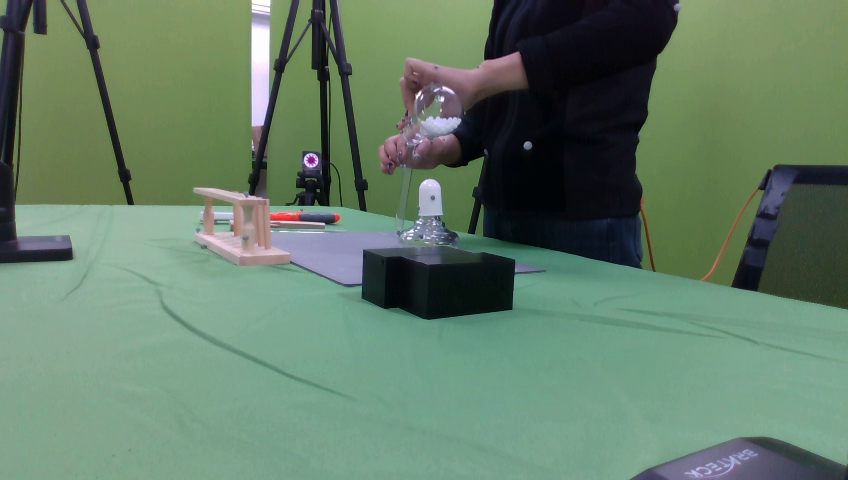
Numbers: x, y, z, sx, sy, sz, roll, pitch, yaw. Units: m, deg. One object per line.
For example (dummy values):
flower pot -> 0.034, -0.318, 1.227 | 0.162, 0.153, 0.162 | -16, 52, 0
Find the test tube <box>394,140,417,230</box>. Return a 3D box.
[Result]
test tube -> -0.030, -0.086, 0.966 | 0.017, 0.150, 0.017 | 9, 22, -3

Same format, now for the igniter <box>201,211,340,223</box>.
igniter -> -0.311, -0.048, 1.243 | 0.278, 0.025, 0.057 | -1, -2, -24

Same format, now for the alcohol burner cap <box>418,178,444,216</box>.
alcohol burner cap -> 0.007, -0.053, 0.745 | 0.034, 0.048, 0.034 | -3, 6, 1

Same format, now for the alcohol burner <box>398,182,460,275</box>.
alcohol burner -> 0.007, -0.017, 0.751 | 0.078, 0.119, 0.078 | 3, 10, 0

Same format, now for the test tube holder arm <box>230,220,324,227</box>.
test tube holder arm -> -0.275, -0.031, 1.145 | 0.179, 0.015, 0.013 | -3, 46, -31

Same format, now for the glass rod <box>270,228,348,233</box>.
glass rod -> -0.234, -0.018, 1.105 | 0.201, 0.008, 0.008 | 1, 7, -26

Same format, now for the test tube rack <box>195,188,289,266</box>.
test tube rack -> -0.266, -0.025, 0.864 | 0.067, 0.085, 0.241 | -2, 8, -33

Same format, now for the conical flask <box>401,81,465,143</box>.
conical flask -> 0.003, -0.176, 0.882 | 0.075, 0.075, 0.121 | -1, -7, -21

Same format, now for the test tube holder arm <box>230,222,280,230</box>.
test tube holder arm -> -0.312, -0.025, 1.118 | 0.088, 0.015, 0.010 | -1, 45, -30
